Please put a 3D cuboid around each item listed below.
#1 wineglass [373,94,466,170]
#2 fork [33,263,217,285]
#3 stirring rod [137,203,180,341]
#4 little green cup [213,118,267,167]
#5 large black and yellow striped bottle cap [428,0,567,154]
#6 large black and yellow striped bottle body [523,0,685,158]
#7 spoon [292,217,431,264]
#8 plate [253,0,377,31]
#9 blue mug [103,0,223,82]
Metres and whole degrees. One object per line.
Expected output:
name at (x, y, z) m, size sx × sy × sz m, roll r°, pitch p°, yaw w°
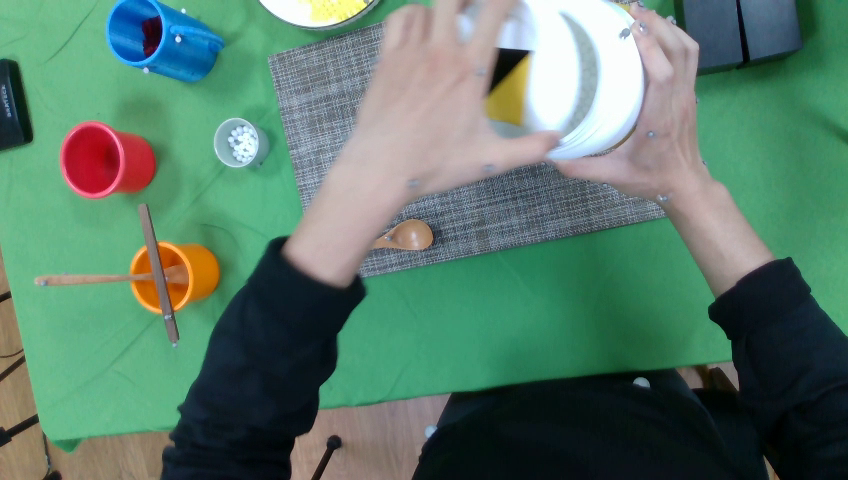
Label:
wineglass at (0.001, -0.112, 0.653) m, size 0.073 × 0.172 × 0.074 m, roll 1°, pitch 94°, yaw 13°
fork at (-0.371, 0.046, 0.766) m, size 0.208 × 0.018 × 0.028 m, roll -2°, pitch 102°, yaw -31°
stirring rod at (-0.331, 0.040, 0.754) m, size 0.014 × 0.006 × 0.176 m, roll -12°, pitch 92°, yaw 14°
little green cup at (-0.234, -0.124, 0.777) m, size 0.061 × 0.038 × 0.061 m, roll 1°, pitch 96°, yaw 13°
large black and yellow striped bottle cap at (0.049, -0.119, 0.434) m, size 0.114 × 0.019 × 0.116 m, roll 26°, pitch 128°, yaw 38°
large black and yellow striped bottle body at (0.139, -0.142, 0.531) m, size 0.130 × 0.184 × 0.131 m, roll 12°, pitch 110°, yaw 36°
spoon at (-0.082, 0.006, 0.760) m, size 0.193 × 0.021 × 0.042 m, roll -13°, pitch 113°, yaw 14°
plate at (-0.126, -0.357, 0.733) m, size 0.208 × 0.038 × 0.209 m, roll 1°, pitch 96°, yaw 12°
blue mug at (-0.310, -0.246, 0.749) m, size 0.116 × 0.106 × 0.082 m, roll 2°, pitch 95°, yaw 12°
